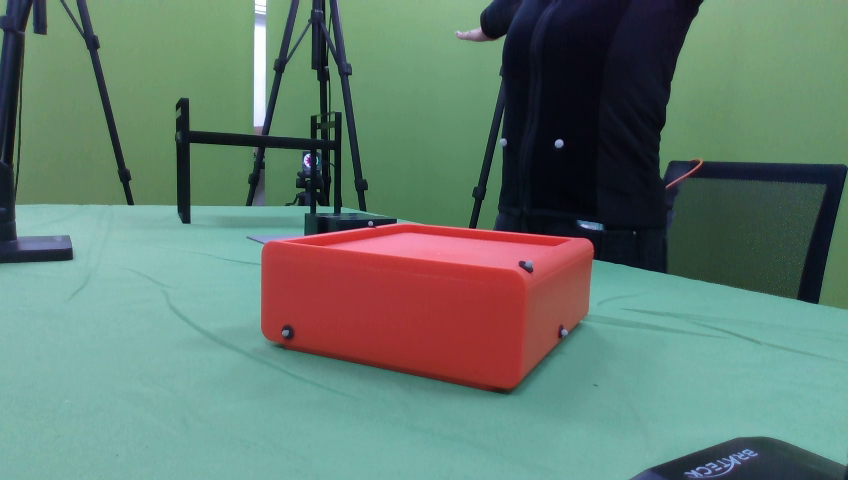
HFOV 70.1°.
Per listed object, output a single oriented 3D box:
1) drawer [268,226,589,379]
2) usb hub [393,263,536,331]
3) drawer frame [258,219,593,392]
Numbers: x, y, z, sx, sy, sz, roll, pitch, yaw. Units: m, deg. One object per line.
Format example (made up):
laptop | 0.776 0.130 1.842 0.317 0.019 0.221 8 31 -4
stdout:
drawer | 0.015 0.037 0.494 0.194 0.073 0.212 7 8 25
usb hub | 0.033 0.047 0.533 0.124 0.025 0.050 16 14 39
drawer frame | 0.015 0.036 0.492 0.201 0.082 0.214 6 9 24
